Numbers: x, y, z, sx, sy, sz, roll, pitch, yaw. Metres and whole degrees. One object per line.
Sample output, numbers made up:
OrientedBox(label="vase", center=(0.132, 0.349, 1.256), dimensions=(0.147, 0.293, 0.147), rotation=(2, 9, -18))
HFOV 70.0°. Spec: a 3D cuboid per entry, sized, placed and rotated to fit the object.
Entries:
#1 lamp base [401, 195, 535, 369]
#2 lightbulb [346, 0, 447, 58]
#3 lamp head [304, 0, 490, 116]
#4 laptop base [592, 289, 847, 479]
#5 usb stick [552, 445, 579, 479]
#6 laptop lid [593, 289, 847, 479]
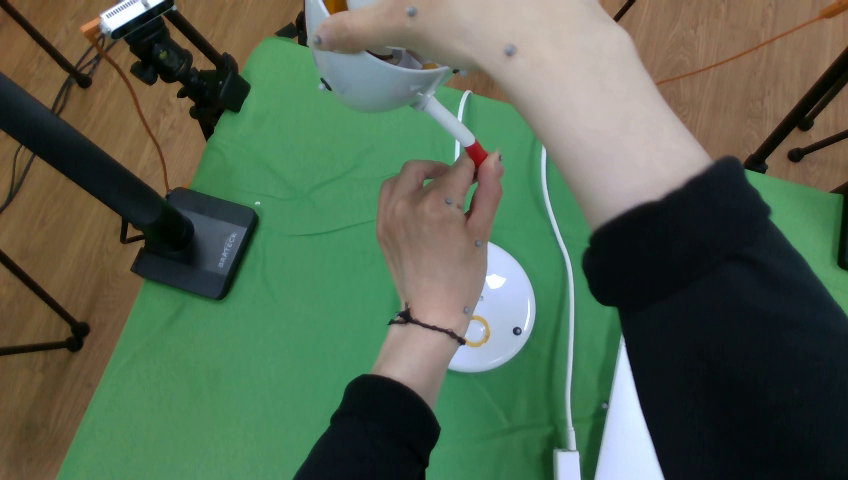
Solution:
OrientedBox(label="lamp base", center=(0.049, 0.038, 0.653), dimensions=(0.161, 0.181, 0.178), rotation=(-13, 71, -5))
OrientedBox(label="lightbulb", center=(-0.022, -0.139, 0.374), dimensions=(0.060, 0.107, 0.059), rotation=(2, 81, -14))
OrientedBox(label="lamp head", center=(-0.025, -0.135, 0.403), dimensions=(0.113, 0.123, 0.112), rotation=(4, 73, -13))
OrientedBox(label="laptop base", center=(0.383, 0.211, 0.690), dimensions=(0.354, 0.023, 0.234), rotation=(16, 76, 4))
OrientedBox(label="usb stick", center=(0.156, 0.257, 0.667), dimensions=(0.027, 0.021, 0.059), rotation=(1, 81, 2))
OrientedBox(label="laptop lid", center=(0.382, 0.210, 0.678), dimensions=(0.356, 0.013, 0.240), rotation=(17, 75, 4))
